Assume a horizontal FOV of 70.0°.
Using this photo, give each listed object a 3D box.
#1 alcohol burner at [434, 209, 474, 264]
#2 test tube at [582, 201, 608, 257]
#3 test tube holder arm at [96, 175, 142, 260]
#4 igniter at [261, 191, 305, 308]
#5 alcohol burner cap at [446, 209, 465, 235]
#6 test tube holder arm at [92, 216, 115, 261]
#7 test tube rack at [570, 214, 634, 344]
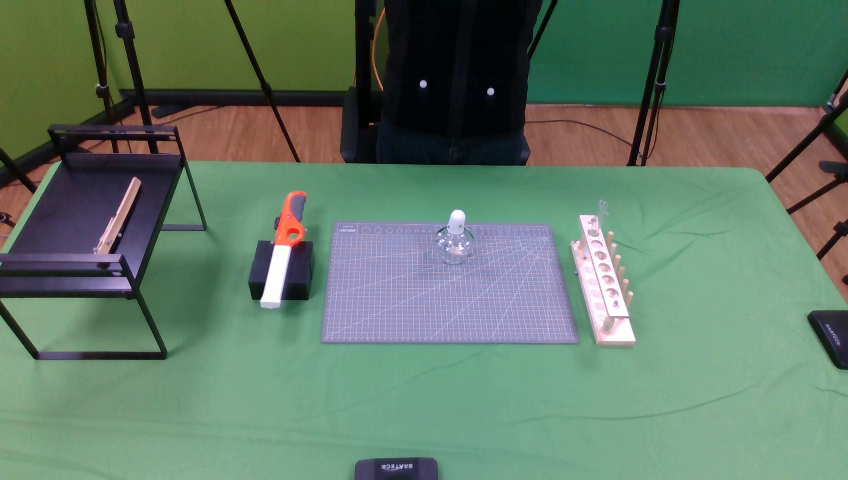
[{"bbox_3d":[0.058,-0.012,1.147,0.078,0.119,0.077,3,44,-2],"label":"alcohol burner"},{"bbox_3d":[0.316,-0.017,1.127,0.017,0.151,0.017,1,51,-1],"label":"test tube"},{"bbox_3d":[-0.473,-0.039,0.946,0.013,0.015,0.177,-19,43,19],"label":"test tube holder arm"},{"bbox_3d":[-0.255,0.007,1.103,0.057,0.025,0.275,5,47,-4],"label":"igniter"},{"bbox_3d":[0.060,-0.036,1.120,0.034,0.048,0.033,4,50,-5],"label":"alcohol burner cap"},{"bbox_3d":[-0.479,-0.004,0.917,0.010,0.015,0.087,-18,43,20],"label":"test tube holder arm"},{"bbox_3d":[0.333,0.067,1.116,0.067,0.085,0.241,1,46,-4],"label":"test tube rack"}]
